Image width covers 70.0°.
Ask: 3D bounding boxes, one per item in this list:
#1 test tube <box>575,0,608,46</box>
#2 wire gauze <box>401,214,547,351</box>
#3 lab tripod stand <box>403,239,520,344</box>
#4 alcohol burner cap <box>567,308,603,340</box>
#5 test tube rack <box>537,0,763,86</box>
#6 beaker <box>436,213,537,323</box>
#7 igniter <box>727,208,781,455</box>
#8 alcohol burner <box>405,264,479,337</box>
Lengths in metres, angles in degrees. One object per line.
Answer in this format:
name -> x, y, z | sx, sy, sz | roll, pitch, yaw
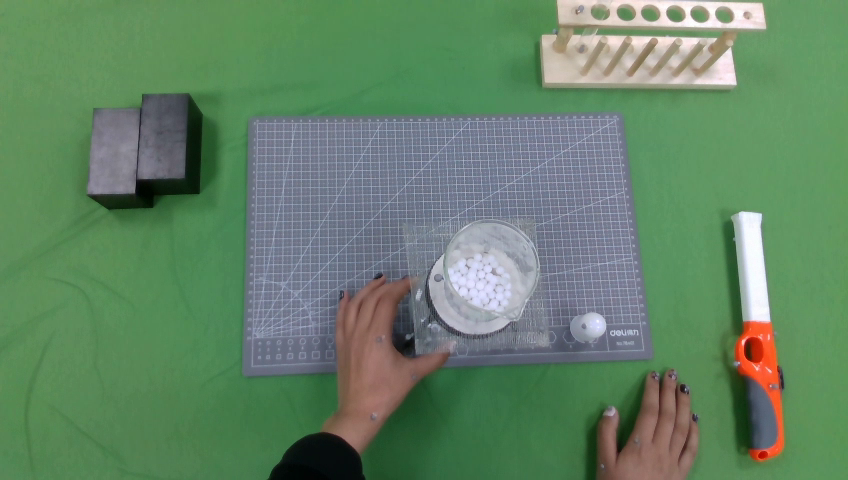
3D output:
test tube -> 0.197, -0.267, 0.677 | 0.017, 0.151, 0.017 | 1, 72, -3
wire gauze -> 0.045, 0.037, 0.551 | 0.125, 0.011, 0.121 | -4, 75, -2
lab tripod stand -> 0.039, 0.055, 0.614 | 0.148, 0.132, 0.147 | 1, 76, -2
alcohol burner cap -> 0.179, 0.091, 0.662 | 0.034, 0.048, 0.033 | 1, 75, -2
test tube rack -> 0.266, -0.236, 0.725 | 0.242, 0.085, 0.066 | 0, 76, -4
beaker -> 0.048, 0.031, 0.503 | 0.074, 0.100, 0.083 | -24, 78, -8
igniter -> 0.370, 0.098, 0.684 | 0.057, 0.025, 0.275 | 5, 77, -13
alcohol burner -> 0.020, 0.059, 0.622 | 0.078, 0.119, 0.077 | 1, 74, -4
